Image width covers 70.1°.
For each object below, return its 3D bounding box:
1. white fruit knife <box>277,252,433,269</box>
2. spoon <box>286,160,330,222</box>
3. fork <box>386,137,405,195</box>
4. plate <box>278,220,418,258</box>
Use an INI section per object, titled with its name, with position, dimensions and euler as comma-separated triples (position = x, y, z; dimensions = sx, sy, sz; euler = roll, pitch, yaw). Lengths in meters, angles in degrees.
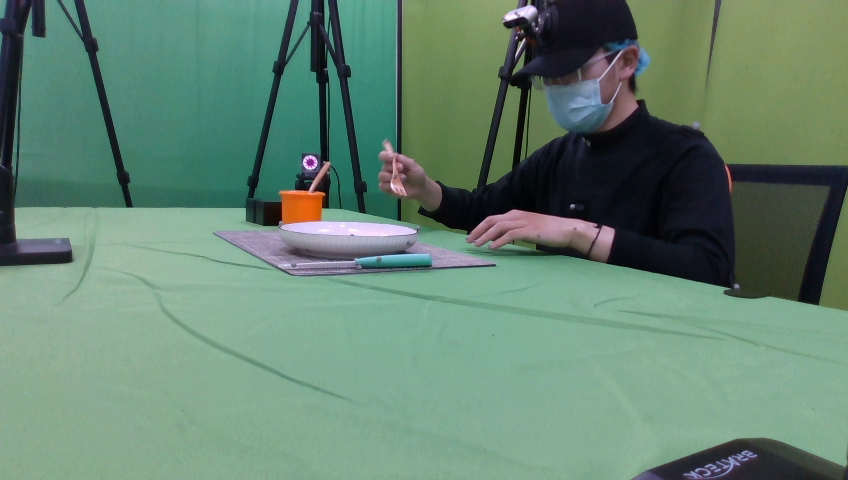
[white fruit knife]
position = -0.082, 0.029, 0.772
dimensions = 0.208, 0.016, 0.027
euler = -3, -20, -22
[spoon]
position = -0.233, -0.101, 1.252
dimensions = 0.041, 0.193, 0.022
euler = 1, -38, 25
[fork]
position = -0.059, -0.146, 1.167
dimensions = 0.028, 0.018, 0.206
euler = 10, 39, -18
[plate]
position = -0.114, -0.002, 0.914
dimensions = 0.209, 0.038, 0.209
euler = 2, 7, 0
